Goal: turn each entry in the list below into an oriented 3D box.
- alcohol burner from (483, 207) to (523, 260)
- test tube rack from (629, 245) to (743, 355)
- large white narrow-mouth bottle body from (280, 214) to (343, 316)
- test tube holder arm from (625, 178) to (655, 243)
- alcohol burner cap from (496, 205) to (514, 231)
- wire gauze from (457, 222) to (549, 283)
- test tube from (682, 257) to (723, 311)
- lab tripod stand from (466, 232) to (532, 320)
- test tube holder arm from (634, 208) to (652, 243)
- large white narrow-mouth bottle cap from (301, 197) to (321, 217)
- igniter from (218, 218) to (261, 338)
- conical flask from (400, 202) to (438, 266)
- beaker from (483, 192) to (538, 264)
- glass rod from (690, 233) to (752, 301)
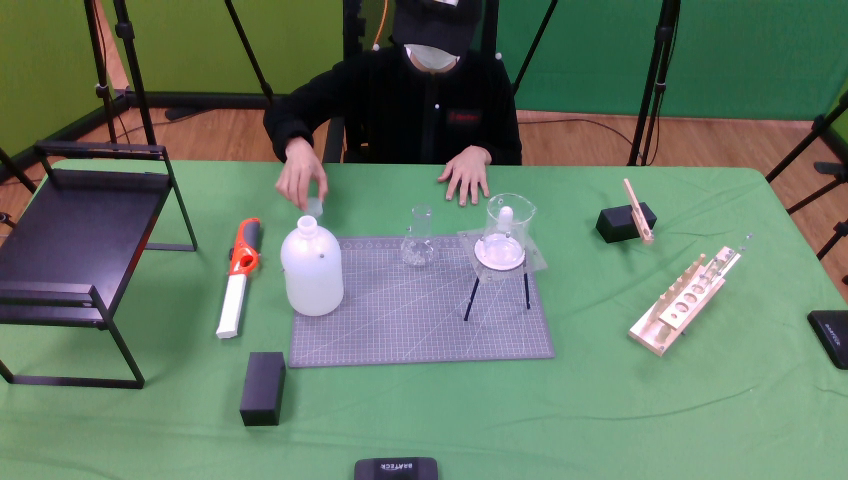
[{"bbox_3d":[0.152,-0.018,1.156,0.078,0.120,0.077,0,47,0],"label":"alcohol burner"},{"bbox_3d":[0.474,0.095,1.091,0.242,0.085,0.066,-34,56,-31],"label":"test tube rack"},{"bbox_3d":[-0.190,0.035,1.025,0.102,0.195,0.101,2,46,-2],"label":"large white narrow-mouth bottle body"},{"bbox_3d":[0.433,-0.062,1.220,0.013,0.015,0.177,2,47,-3],"label":"test tube holder arm"},{"bbox_3d":[0.153,-0.044,1.131,0.034,0.048,0.033,2,40,-1],"label":"alcohol burner cap"},{"bbox_3d":[0.131,0.016,1.017,0.121,0.011,0.124,-10,44,-15],"label":"wire gauze"},{"bbox_3d":[0.474,0.080,1.037,0.017,0.151,0.017,1,50,-1],"label":"test tube"},{"bbox_3d":[0.125,0.059,1.065,0.148,0.132,0.147,1,45,0],"label":"lab tripod stand"},{"bbox_3d":[0.428,-0.030,1.189,0.010,0.015,0.087,2,47,-3],"label":"test tube holder arm"},{"bbox_3d":[-0.215,-0.062,1.149,0.038,0.024,0.037,2,46,-2],"label":"large white narrow-mouth bottle cap"},{"bbox_3d":[-0.336,0.060,1.111,0.057,0.025,0.274,-7,46,4],"label":"igniter"},{"bbox_3d":[-0.007,-0.014,1.135,0.075,0.122,0.075,2,46,-2],"label":"conical flask"},{"bbox_3d":[0.136,-0.017,0.980,0.084,0.101,0.073,-6,45,-9],"label":"beaker"},{"bbox_3d":[0.507,0.053,1.041,0.008,0.200,0.008,5,51,-6],"label":"glass rod"}]
